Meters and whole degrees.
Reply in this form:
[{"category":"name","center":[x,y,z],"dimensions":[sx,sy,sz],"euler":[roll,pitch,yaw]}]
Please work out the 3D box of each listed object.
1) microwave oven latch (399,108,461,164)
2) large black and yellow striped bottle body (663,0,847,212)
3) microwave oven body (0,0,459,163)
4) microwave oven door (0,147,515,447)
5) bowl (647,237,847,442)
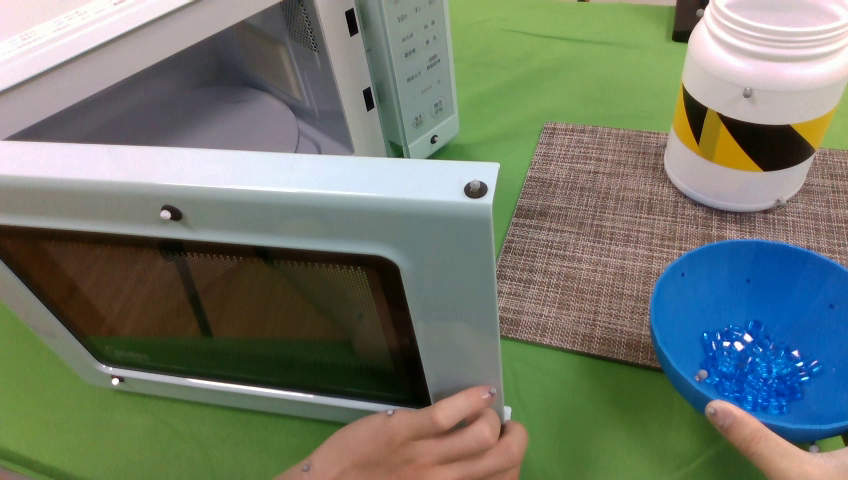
[{"category":"microwave oven latch","center":[0.006,-0.118,0.663],"dimensions":[0.079,0.030,0.030],"euler":[-37,53,-23]},{"category":"large black and yellow striped bottle body","center":[0.297,-0.131,0.545],"dimensions":[0.131,0.186,0.129],"euler":[-4,47,5]},{"category":"microwave oven body","center":[-0.235,-0.152,0.600],"dimensions":[0.441,0.263,0.323],"euler":[-39,54,-24]},{"category":"microwave oven door","center":[-0.123,0.043,0.392],"dimensions":[0.355,0.246,0.039],"euler":[4,48,13]},{"category":"bowl","center":[0.227,0.078,0.415],"dimensions":[0.151,0.077,0.150],"euler":[-5,46,6]}]
